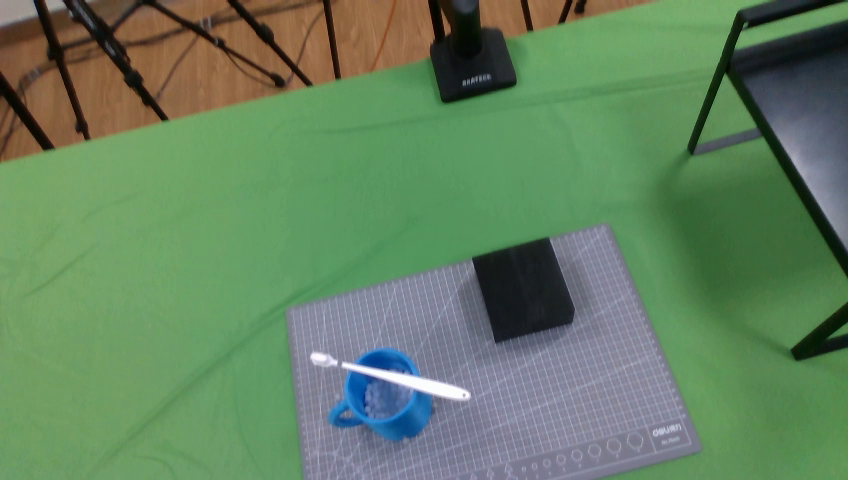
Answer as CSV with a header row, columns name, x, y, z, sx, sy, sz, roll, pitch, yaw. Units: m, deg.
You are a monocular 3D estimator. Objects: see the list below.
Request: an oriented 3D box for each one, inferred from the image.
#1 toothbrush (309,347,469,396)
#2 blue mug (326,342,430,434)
name,x,y,z,sx,sy,sz,roll,pitch,yaw
toothbrush,-0.040,0.139,0.646,0.181,0.017,0.014,11,61,14
blue mug,-0.055,0.179,0.695,0.116,0.107,0.081,-23,62,-2
